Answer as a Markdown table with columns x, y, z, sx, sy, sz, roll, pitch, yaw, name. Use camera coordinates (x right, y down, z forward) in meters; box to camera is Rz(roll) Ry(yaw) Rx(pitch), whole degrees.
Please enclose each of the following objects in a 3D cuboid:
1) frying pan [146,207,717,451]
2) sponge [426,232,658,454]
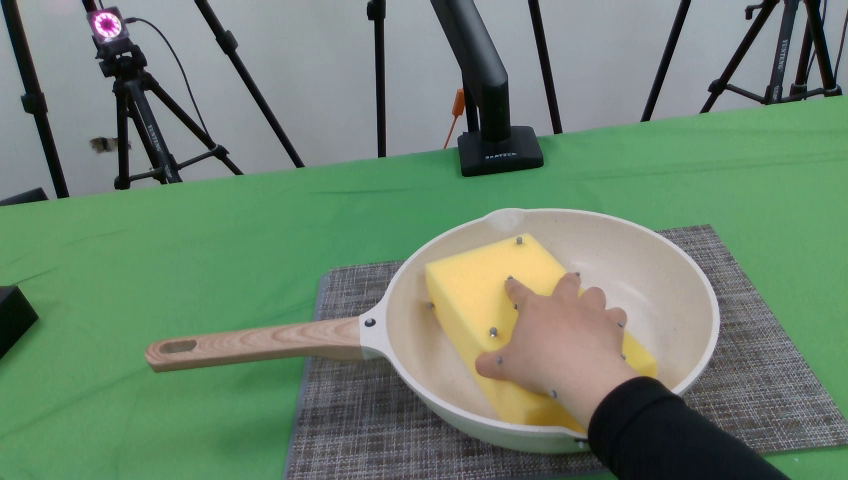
| x | y | z | sx | sy | sz | roll | pitch | yaw | name |
| --- | --- | --- | --- | --- | --- | --- | --- | --- | --- |
| 0.004 | 0.079 | 0.549 | 0.488 | 0.103 | 0.303 | -3 | 34 | -5 | frying pan |
| 0.096 | 0.080 | 0.554 | 0.118 | 0.061 | 0.204 | -18 | 36 | -15 | sponge |
